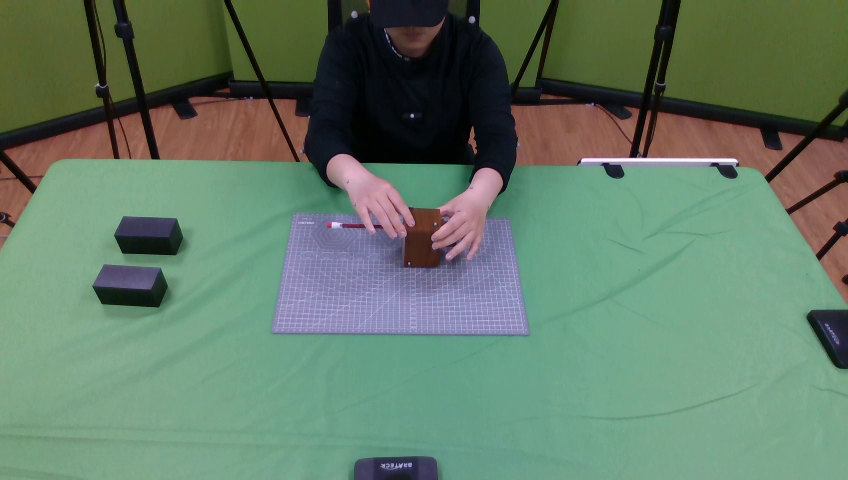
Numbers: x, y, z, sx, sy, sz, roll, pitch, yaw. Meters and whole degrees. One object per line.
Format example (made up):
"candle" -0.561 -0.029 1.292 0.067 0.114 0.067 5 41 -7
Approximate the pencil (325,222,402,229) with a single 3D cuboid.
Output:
"pencil" -0.084 -0.024 1.112 0.194 0.012 0.012 1 45 -4

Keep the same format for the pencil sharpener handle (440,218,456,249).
"pencil sharpener handle" 0.047 -0.010 1.131 0.031 0.068 0.036 0 40 -5

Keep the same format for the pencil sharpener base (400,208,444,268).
"pencil sharpener base" -0.005 -0.002 1.137 0.077 0.107 0.061 0 46 -5
